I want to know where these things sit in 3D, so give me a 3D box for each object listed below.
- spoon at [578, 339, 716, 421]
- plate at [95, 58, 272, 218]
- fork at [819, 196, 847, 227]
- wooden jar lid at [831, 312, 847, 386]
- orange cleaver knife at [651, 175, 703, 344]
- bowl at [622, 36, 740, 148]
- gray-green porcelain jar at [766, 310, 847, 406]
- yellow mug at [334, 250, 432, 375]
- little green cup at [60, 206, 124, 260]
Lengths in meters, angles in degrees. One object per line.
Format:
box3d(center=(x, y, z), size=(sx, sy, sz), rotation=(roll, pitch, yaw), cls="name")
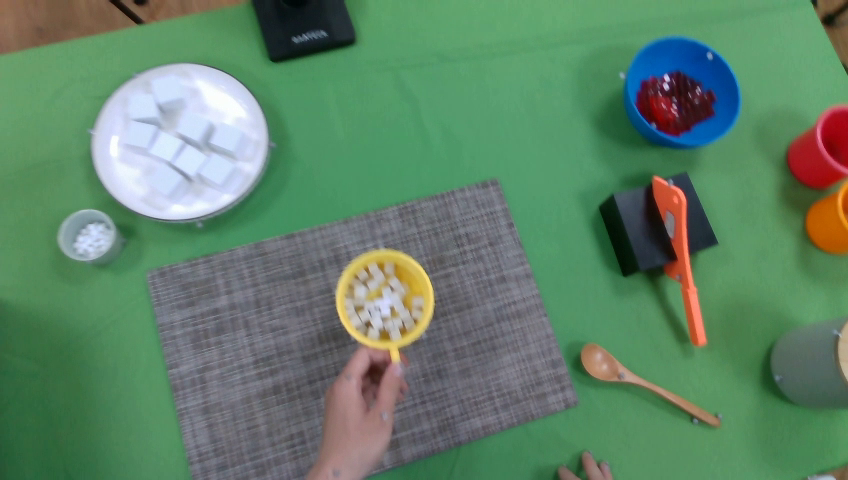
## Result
box3d(center=(0.272, 0.175, 0.738), size=(0.193, 0.022, 0.041), rotation=(26, 58, 1), cls="spoon")
box3d(center=(-0.292, -0.124, 0.752), size=(0.208, 0.039, 0.206), rotation=(1, 76, -5), cls="plate")
box3d(center=(0.556, 0.002, 0.744), size=(0.028, 0.019, 0.205), rotation=(-1, 32, -5), cls="fork")
box3d(center=(0.488, 0.124, 0.652), size=(0.108, 0.021, 0.108), rotation=(1, 75, -3), cls="wooden jar lid")
box3d(center=(0.311, 0.023, 0.750), size=(0.012, 0.077, 0.212), rotation=(-15, 101, -5), cls="orange cleaver knife")
box3d(center=(0.326, -0.182, 0.806), size=(0.151, 0.077, 0.150), rotation=(1, 76, -5), cls="bowl")
box3d(center=(0.482, 0.141, 0.714), size=(0.106, 0.127, 0.105), rotation=(1, 75, -5), cls="gray-green porcelain jar")
box3d(center=(-0.041, 0.078, 0.643), size=(0.100, 0.064, 0.130), rotation=(-11, 84, -7), cls="yellow mug")
box3d(center=(-0.386, -0.006, 0.711), size=(0.061, 0.039, 0.061), rotation=(2, 76, -6), cls="little green cup")
